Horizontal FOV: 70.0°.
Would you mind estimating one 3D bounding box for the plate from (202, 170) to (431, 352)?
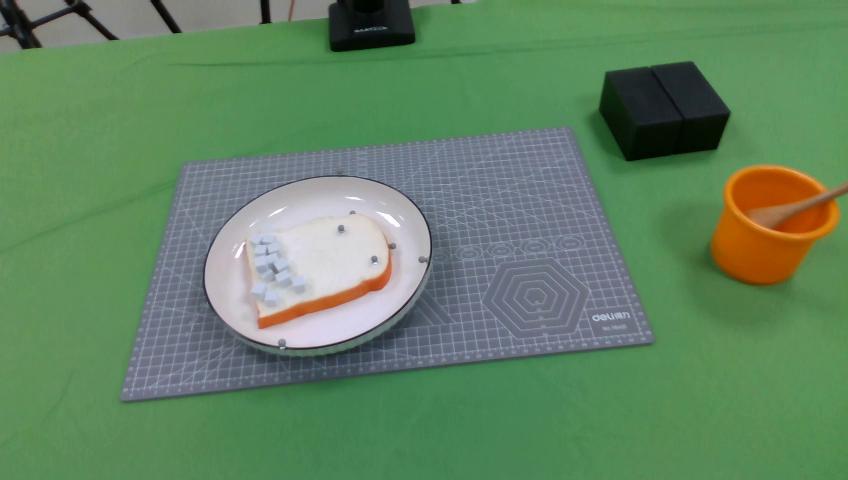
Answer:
[{"bbox_3d":[-0.096,0.017,0.563,0.209,0.038,0.207,-1,49,2],"label":"plate"}]

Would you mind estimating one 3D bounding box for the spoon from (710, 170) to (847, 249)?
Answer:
[{"bbox_3d":[0.334,-0.045,0.513,0.193,0.022,0.041,-30,37,32],"label":"spoon"}]

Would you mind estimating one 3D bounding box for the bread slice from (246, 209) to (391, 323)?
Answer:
[{"bbox_3d":[-0.099,0.015,0.569,0.132,0.019,0.103,-18,51,-10],"label":"bread slice"}]
